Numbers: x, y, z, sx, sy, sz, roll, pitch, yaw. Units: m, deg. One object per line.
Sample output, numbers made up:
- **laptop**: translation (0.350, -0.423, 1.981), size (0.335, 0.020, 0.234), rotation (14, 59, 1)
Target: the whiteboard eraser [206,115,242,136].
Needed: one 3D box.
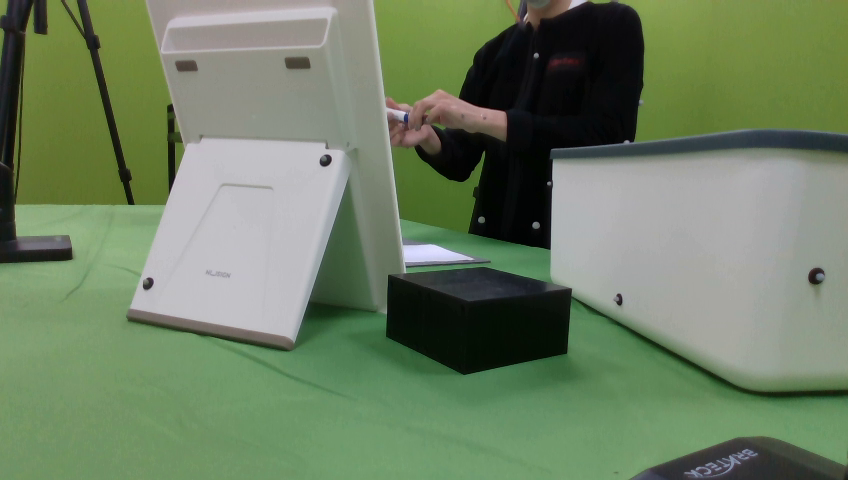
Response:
- **whiteboard eraser**: translation (-0.438, -0.249, 1.320), size (0.056, 0.042, 0.112), rotation (-3, 9, -30)

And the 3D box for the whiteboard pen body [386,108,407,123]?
- **whiteboard pen body**: translation (-0.067, -0.217, 1.027), size (0.140, 0.017, 0.017), rotation (20, 15, 25)

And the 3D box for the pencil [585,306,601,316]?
- **pencil**: translation (0.250, 0.055, 0.656), size (0.195, 0.012, 0.012), rotation (-12, 13, -27)

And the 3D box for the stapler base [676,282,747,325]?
- **stapler base**: translation (0.283, 0.057, 0.585), size (0.041, 0.024, 0.131), rotation (32, 19, 33)

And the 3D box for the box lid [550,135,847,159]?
- **box lid**: translation (0.294, -0.071, 0.538), size (0.264, 0.015, 0.370), rotation (2, 6, -10)

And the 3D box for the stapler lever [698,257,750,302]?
- **stapler lever**: translation (0.291, 0.035, 0.580), size (0.026, 0.040, 0.119), rotation (32, 21, 33)

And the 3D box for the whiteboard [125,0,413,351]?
- **whiteboard**: translation (-0.151, -0.050, 0.471), size (0.216, 0.305, 0.144), rotation (6, 27, 24)

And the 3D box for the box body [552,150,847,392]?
- **box body**: translation (0.290, 0.002, 0.549), size (0.255, 0.160, 0.363), rotation (2, 7, -10)

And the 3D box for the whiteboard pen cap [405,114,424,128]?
- **whiteboard pen cap**: translation (-0.017, -0.199, 1.003), size (0.033, 0.018, 0.018), rotation (25, 18, 28)
